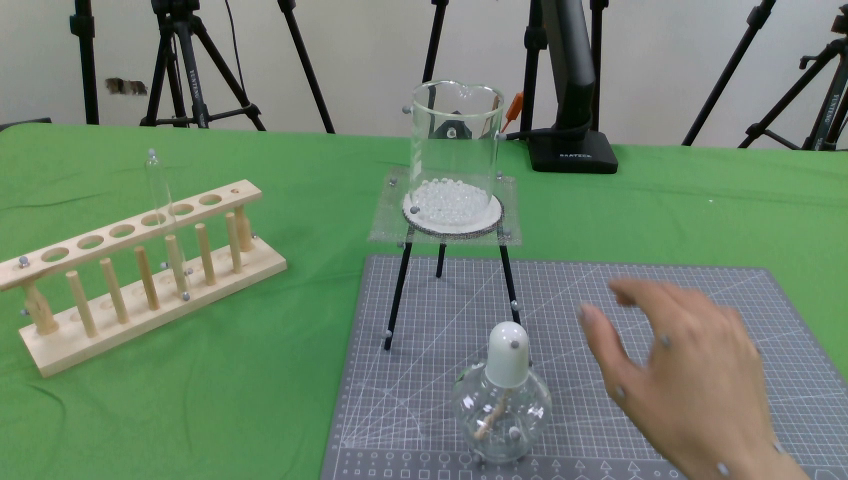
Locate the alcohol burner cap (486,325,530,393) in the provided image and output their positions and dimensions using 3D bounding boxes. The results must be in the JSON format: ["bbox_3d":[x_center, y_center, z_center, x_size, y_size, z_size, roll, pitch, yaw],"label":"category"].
[{"bbox_3d":[0.061,0.082,0.433,0.034,0.048,0.033,-1,35,1],"label":"alcohol burner cap"}]

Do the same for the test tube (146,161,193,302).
[{"bbox_3d":[-0.235,-0.004,0.562,0.017,0.151,0.017,2,33,-1],"label":"test tube"}]

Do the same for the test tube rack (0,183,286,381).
[{"bbox_3d":[-0.261,0.031,0.589,0.243,0.086,0.066,-26,43,-34],"label":"test tube rack"}]

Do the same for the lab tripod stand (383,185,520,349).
[{"bbox_3d":[0.027,0.027,0.558,0.148,0.132,0.147,2,34,-1],"label":"lab tripod stand"}]

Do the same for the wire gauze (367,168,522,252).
[{"bbox_3d":[0.020,-0.027,0.519,0.121,0.011,0.124,4,37,3],"label":"wire gauze"}]

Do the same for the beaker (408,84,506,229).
[{"bbox_3d":[0.024,-0.068,0.493,0.074,0.101,0.083,9,35,7],"label":"beaker"}]

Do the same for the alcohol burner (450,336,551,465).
[{"bbox_3d":[0.059,0.112,0.453,0.078,0.120,0.077,2,36,-1],"label":"alcohol burner"}]
